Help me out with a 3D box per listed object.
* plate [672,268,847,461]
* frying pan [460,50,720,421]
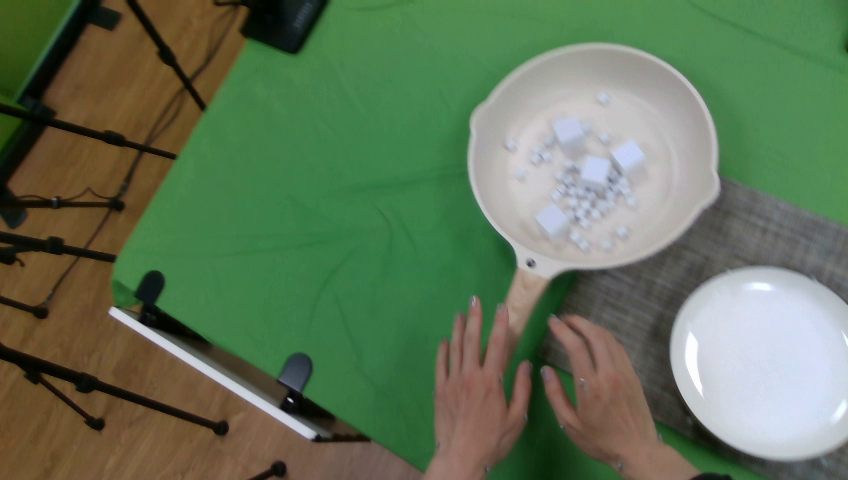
[{"bbox_3d":[0.383,0.135,0.671,0.207,0.039,0.206,-4,73,13],"label":"plate"},{"bbox_3d":[0.159,-0.009,0.734,0.305,0.103,0.486,23,72,21],"label":"frying pan"}]
